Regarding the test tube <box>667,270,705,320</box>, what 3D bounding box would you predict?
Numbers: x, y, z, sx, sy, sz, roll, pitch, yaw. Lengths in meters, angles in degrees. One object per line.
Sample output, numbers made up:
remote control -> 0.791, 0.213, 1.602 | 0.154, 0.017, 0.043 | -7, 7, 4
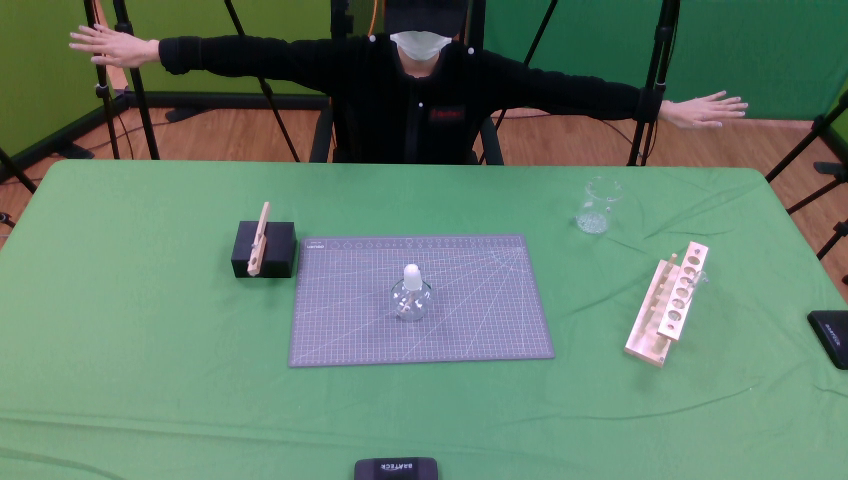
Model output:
test tube -> 0.434, 0.103, 1.020 | 0.017, 0.151, 0.017 | 4, 48, -4

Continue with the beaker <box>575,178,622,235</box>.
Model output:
beaker -> 0.356, -0.068, 1.239 | 0.084, 0.101, 0.073 | -18, 50, -21

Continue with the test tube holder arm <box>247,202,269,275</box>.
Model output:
test tube holder arm -> -0.304, -0.006, 1.116 | 0.013, 0.015, 0.177 | -6, 46, 2

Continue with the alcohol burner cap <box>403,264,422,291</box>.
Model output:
alcohol burner cap -> -0.021, 0.060, 1.021 | 0.034, 0.048, 0.033 | -2, 47, 2

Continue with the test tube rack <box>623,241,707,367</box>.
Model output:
test tube rack -> 0.435, 0.104, 1.089 | 0.066, 0.085, 0.242 | 24, 49, 18

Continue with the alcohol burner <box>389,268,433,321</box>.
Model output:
alcohol burner -> -0.023, 0.085, 1.046 | 0.078, 0.119, 0.077 | 2, 48, -2

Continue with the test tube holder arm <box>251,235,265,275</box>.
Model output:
test tube holder arm -> -0.297, 0.025, 1.085 | 0.010, 0.015, 0.087 | -5, 46, 2
